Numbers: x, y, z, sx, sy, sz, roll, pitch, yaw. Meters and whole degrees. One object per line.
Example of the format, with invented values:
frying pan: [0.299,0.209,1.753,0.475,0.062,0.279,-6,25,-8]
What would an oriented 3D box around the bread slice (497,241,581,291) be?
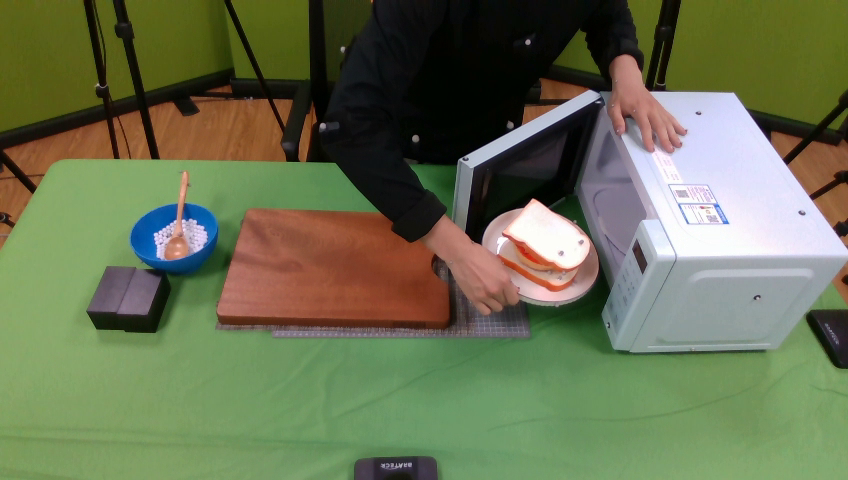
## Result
bread slice: [0.209,0.032,1.060,0.131,0.019,0.104,31,53,19]

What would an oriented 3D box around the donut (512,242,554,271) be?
donut: [0.200,0.010,1.038,0.099,0.048,0.098,0,52,0]

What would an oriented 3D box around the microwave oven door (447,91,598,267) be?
microwave oven door: [0.191,-0.120,1.157,0.356,0.245,0.039,-31,55,-30]

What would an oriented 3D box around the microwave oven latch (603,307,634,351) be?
microwave oven latch: [0.332,0.153,1.044,0.030,0.029,0.078,0,45,-3]

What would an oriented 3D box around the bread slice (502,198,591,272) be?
bread slice: [0.211,-0.005,1.013,0.134,0.018,0.107,34,53,11]

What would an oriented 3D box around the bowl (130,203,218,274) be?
bowl: [-0.451,0.009,1.116,0.151,0.077,0.150,3,45,-3]

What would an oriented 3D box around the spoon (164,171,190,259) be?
spoon: [-0.452,-0.046,1.129,0.041,0.022,0.193,-1,69,-3]

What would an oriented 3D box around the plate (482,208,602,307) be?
plate: [0.202,0.032,1.056,0.208,0.039,0.206,4,50,-5]

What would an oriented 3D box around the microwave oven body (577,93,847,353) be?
microwave oven body: [0.475,-0.041,1.109,0.326,0.261,0.438,-1,45,-4]
